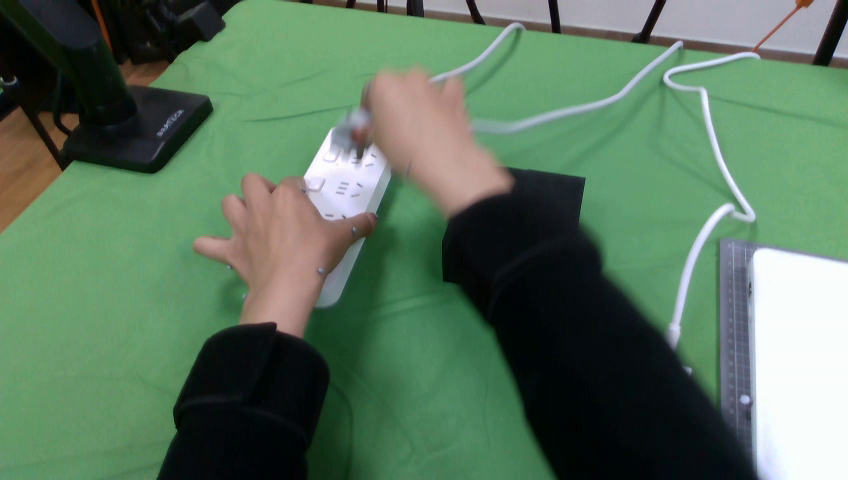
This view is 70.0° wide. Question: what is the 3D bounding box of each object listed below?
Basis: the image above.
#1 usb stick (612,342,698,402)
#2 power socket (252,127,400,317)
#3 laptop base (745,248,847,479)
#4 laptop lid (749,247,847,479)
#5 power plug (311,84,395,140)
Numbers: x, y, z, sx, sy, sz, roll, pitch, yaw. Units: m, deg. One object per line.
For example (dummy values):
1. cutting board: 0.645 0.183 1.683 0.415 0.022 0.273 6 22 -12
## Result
1. usb stick: 0.165 0.094 0.425 0.059 0.021 0.027 24 89 8
2. power socket: -0.081 -0.030 0.547 0.072 0.033 0.225 10 49 10
3. laptop base: 0.396 0.131 0.393 0.353 0.023 0.234 12 53 13
4. laptop lid: 0.395 0.125 0.383 0.355 0.013 0.240 13 52 14
5. power plug: -0.058 -0.112 0.487 0.053 0.073 0.035 23 38 -16
